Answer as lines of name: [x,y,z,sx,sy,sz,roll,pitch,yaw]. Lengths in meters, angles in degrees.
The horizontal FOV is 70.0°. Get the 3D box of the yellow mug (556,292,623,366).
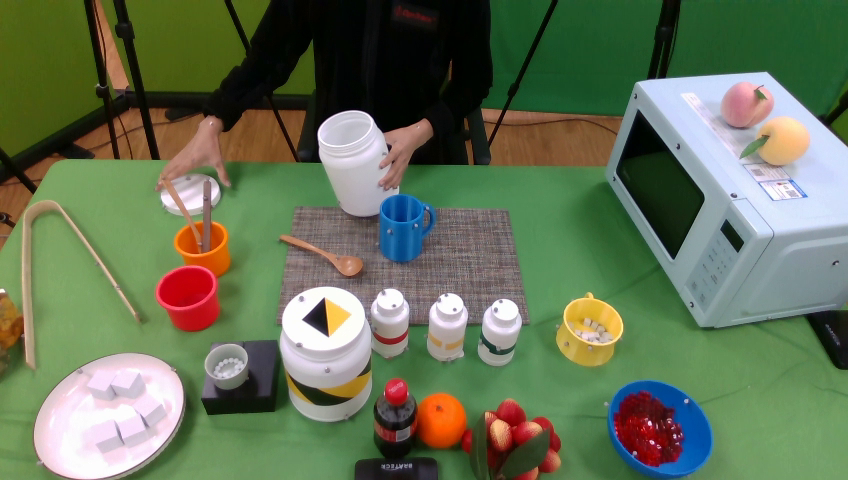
yellow mug: [0.285,0.145,1.051,0.100,0.064,0.130,7,45,3]

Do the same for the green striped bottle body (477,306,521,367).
green striped bottle body: [0.124,0.151,0.995,0.063,0.120,0.063,2,46,-2]

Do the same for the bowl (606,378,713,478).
bowl: [0.340,0.292,0.906,0.151,0.077,0.150,2,46,-2]

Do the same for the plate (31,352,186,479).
plate: [-0.459,0.262,0.898,0.209,0.038,0.208,2,46,-2]

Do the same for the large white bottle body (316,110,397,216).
large white bottle body: [-0.134,-0.151,1.200,0.130,0.186,0.130,-7,48,8]

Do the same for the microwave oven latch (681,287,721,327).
microwave oven latch: [0.494,0.119,1.087,0.030,0.029,0.078,-6,46,-9]

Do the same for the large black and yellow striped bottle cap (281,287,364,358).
large black and yellow striped bottle cap: [-0.141,0.112,0.847,0.115,0.019,0.114,5,45,-4]

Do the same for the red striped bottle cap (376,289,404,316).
red striped bottle cap: [-0.054,0.098,0.958,0.044,0.018,0.044,0,48,1]

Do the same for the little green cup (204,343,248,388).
little green cup: [-0.294,0.190,0.909,0.061,0.039,0.061,1,48,-1]

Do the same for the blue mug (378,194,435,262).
blue mug: [-0.032,-0.027,1.160,0.116,0.106,0.082,-19,51,-21]

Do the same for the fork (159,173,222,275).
fork: [-0.427,-0.029,1.103,0.028,0.018,0.207,-31,99,-30]

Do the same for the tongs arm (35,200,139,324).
tongs arm: [-0.622,0.034,1.105,0.051,0.026,0.382,-32,55,-26]

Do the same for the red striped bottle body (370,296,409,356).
red striped bottle body: [-0.058,0.134,0.997,0.063,0.120,0.062,4,47,-4]

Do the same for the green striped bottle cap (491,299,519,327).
green striped bottle cap: [0.128,0.115,0.958,0.044,0.020,0.044,1,47,-1]

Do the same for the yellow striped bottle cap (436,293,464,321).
yellow striped bottle cap: [0.041,0.106,0.959,0.044,0.019,0.044,0,50,0]

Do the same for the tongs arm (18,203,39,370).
tongs arm: [-0.698,0.069,1.069,0.028,0.028,0.385,-20,50,-13]

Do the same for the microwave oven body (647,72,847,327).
microwave oven body: [0.607,-0.089,1.164,0.326,0.261,0.438,-7,46,-10]

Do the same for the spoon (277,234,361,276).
spoon: [-0.202,0.023,1.154,0.193,0.022,0.041,23,70,17]

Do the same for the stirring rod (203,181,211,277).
stirring rod: [-0.396,-0.021,1.107,0.014,0.006,0.176,-1,89,-1]

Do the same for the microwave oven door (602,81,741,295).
microwave oven door: [0.456,-0.107,1.162,0.039,0.245,0.353,-6,47,-11]

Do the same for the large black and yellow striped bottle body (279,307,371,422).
large black and yellow striped bottle body: [-0.145,0.173,0.907,0.131,0.185,0.130,2,46,-2]

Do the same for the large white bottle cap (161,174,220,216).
large white bottle cap: [-0.483,-0.094,1.253,0.115,0.018,0.114,3,46,-3]

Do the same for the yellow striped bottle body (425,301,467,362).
yellow striped bottle body: [0.037,0.142,0.996,0.063,0.121,0.062,3,46,-2]
